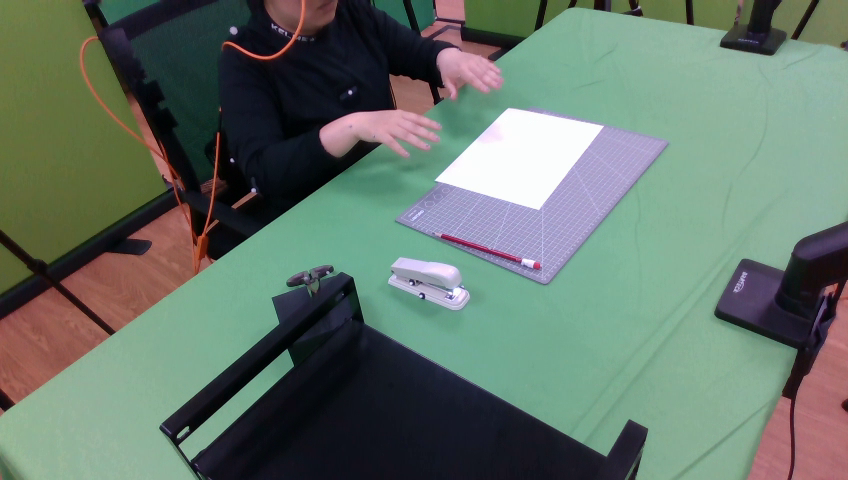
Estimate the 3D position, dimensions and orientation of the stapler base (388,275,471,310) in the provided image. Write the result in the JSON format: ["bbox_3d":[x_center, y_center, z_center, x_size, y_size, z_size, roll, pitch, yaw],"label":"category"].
[{"bbox_3d":[0.007,0.066,0.897,0.129,0.024,0.041,17,44,29],"label":"stapler base"}]

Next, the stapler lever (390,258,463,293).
[{"bbox_3d":[0.002,0.046,0.881,0.117,0.040,0.027,17,44,29],"label":"stapler lever"}]

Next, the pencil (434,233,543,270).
[{"bbox_3d":[0.096,0.015,0.949,0.192,0.012,0.012,18,46,29],"label":"pencil"}]

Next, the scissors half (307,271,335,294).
[{"bbox_3d":[-0.152,0.061,0.872,0.040,0.013,0.175,-3,6,-4],"label":"scissors half"}]

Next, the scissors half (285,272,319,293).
[{"bbox_3d":[-0.172,0.063,0.868,0.040,0.013,0.174,-11,7,-21],"label":"scissors half"}]
